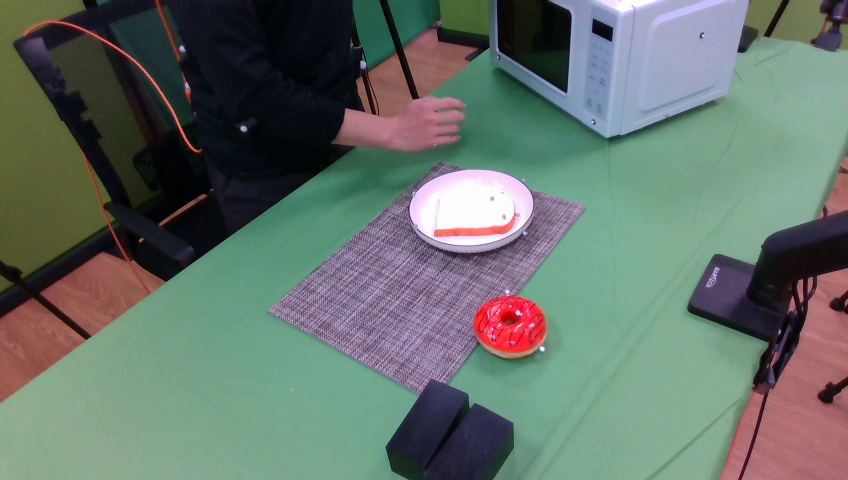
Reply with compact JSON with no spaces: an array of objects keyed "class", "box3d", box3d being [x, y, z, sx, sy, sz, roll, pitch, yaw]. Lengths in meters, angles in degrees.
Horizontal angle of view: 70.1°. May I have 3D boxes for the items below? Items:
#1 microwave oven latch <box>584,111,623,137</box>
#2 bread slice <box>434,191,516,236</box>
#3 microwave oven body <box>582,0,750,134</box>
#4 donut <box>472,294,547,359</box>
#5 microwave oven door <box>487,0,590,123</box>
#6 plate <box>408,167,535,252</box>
[{"class":"microwave oven latch","box3d":[0.337,-0.222,1.142,0.030,0.029,0.078,-21,42,-14]},{"class":"bread slice","box3d":[0.085,-0.046,0.996,0.131,0.019,0.104,-1,41,7]},{"class":"microwave oven body","box3d":[0.382,-0.444,1.246,0.327,0.261,0.437,-22,42,-16]},{"class":"donut","box3d":[0.114,0.114,0.803,0.099,0.048,0.098,0,40,1]},{"class":"microwave oven door","box3d":[0.232,-0.420,1.230,0.039,0.245,0.352,-22,42,-16]},{"class":"plate","box3d":[0.078,-0.047,0.996,0.207,0.039,0.206,-4,41,4]}]
